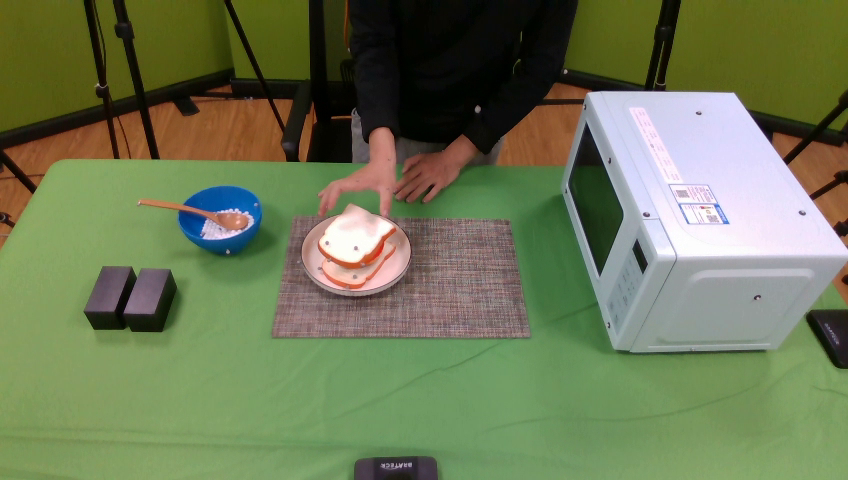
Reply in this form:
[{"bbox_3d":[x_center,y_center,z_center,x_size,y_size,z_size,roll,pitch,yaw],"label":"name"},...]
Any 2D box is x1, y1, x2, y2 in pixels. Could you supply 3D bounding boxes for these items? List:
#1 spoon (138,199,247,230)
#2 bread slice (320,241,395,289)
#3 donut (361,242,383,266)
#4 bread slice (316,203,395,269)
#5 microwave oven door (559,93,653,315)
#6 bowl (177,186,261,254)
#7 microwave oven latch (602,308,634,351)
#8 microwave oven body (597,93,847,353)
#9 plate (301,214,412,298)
[{"bbox_3d":[-0.431,-0.053,1.136,0.194,0.022,0.041,15,47,-20],"label":"spoon"},{"bbox_3d":[-0.129,0.037,1.141,0.107,0.018,0.134,19,47,14],"label":"bread slice"},{"bbox_3d":[-0.125,0.010,1.127,0.099,0.048,0.098,3,45,-3],"label":"donut"},{"bbox_3d":[-0.129,-0.005,1.100,0.104,0.019,0.131,27,52,13],"label":"bread slice"},{"bbox_3d":[0.327,-0.074,1.123,0.039,0.245,0.353,-1,46,-5],"label":"microwave oven door"},{"bbox_3d":[-0.383,-0.026,1.158,0.151,0.077,0.150,2,46,-2],"label":"bowl"},{"bbox_3d":[0.332,0.153,1.044,0.030,0.029,0.078,-1,45,-4],"label":"microwave oven latch"},{"bbox_3d":[0.475,-0.041,1.109,0.326,0.261,0.438,-1,45,-4],"label":"microwave oven body"},{"bbox_3d":[-0.126,0.031,1.145,0.208,0.039,0.206,2,45,-2],"label":"plate"}]
